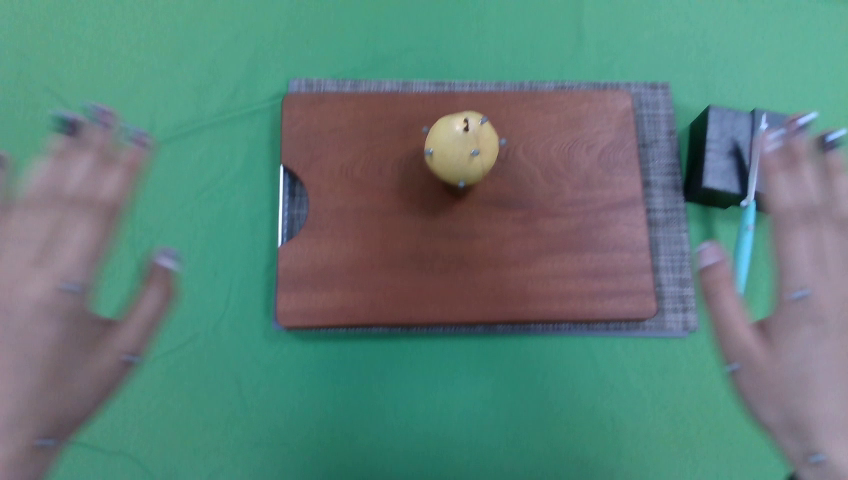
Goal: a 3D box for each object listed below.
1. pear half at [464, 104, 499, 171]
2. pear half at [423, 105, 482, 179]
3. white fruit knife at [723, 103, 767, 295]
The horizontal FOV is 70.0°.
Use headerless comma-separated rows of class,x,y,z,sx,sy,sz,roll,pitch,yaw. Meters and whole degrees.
pear half,0.061,-0.112,0.630,0.031,0.088,0.070,-22,73,-6
pear half,0.028,-0.102,0.616,0.056,0.110,0.076,-22,74,-6
white fruit knife,0.345,-0.041,0.646,0.016,0.027,0.207,7,98,8
